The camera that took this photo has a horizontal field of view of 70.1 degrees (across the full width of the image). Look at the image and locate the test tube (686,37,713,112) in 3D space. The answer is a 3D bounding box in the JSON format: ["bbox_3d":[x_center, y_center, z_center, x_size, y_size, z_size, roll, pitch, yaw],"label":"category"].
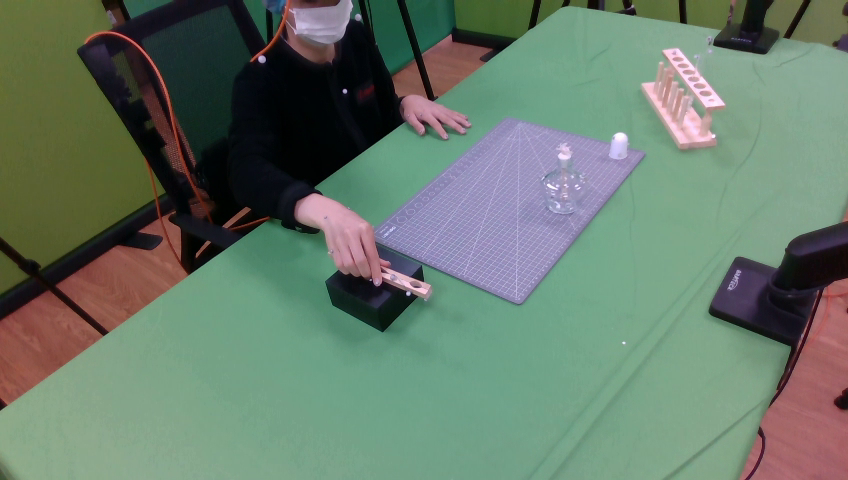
[{"bbox_3d":[0.509,-0.306,1.128,0.017,0.151,0.017,-1,45,1],"label":"test tube"}]

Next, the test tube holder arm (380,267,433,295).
[{"bbox_3d":[-0.027,0.058,0.838,0.087,0.015,0.010,18,47,27],"label":"test tube holder arm"}]

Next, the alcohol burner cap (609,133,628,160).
[{"bbox_3d":[0.356,-0.172,1.101,0.034,0.048,0.033,-5,40,5],"label":"alcohol burner cap"}]

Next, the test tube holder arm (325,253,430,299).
[{"bbox_3d":[-0.069,0.049,0.854,0.177,0.015,0.013,17,46,26],"label":"test tube holder arm"}]

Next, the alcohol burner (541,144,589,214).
[{"bbox_3d":[0.229,-0.102,0.983,0.078,0.119,0.077,-6,41,5],"label":"alcohol burner"}]

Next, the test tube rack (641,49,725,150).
[{"bbox_3d":[0.495,-0.279,1.175,0.067,0.085,0.241,-5,41,3],"label":"test tube rack"}]
